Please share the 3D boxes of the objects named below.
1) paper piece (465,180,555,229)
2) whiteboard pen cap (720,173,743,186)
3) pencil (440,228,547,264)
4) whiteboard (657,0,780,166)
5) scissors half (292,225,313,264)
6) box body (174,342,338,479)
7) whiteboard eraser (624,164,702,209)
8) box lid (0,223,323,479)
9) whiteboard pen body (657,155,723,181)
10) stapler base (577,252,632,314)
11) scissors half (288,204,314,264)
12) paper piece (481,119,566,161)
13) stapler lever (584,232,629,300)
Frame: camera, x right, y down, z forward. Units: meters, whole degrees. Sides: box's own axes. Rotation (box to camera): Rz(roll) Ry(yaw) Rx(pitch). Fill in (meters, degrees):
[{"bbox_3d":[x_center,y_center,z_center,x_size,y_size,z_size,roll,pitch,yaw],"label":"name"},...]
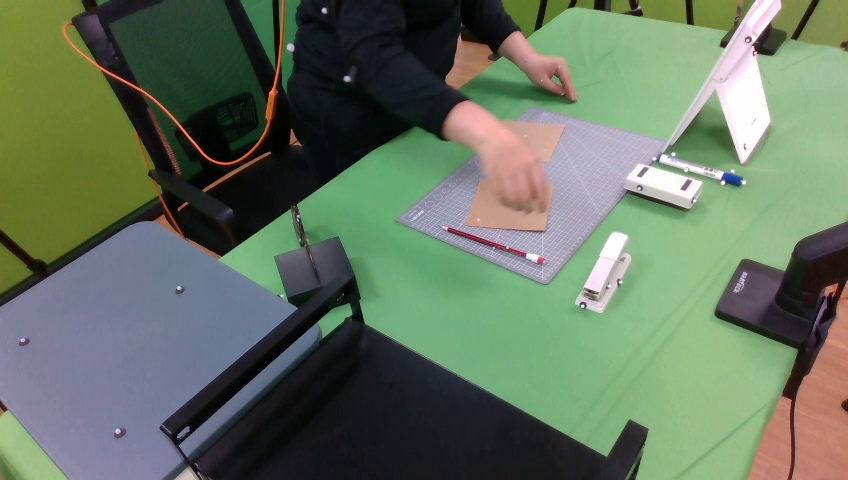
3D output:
[{"bbox_3d":[0.149,-0.062,1.034,0.137,0.009,0.136,5,38,16],"label":"paper piece"},{"bbox_3d":[0.519,-0.103,1.020,0.033,0.018,0.018,23,49,29],"label":"whiteboard pen cap"},{"bbox_3d":[0.105,0.007,0.957,0.192,0.012,0.012,18,46,30],"label":"pencil"},{"bbox_3d":[0.571,-0.272,1.038,0.143,0.306,0.218,36,54,17],"label":"whiteboard"},{"bbox_3d":[-0.189,0.007,0.955,0.013,0.040,0.174,-20,22,-13],"label":"scissors half"},{"bbox_3d":[-0.311,0.165,0.720,0.361,0.161,0.255,23,49,32],"label":"box body"},{"bbox_3d":[0.396,-0.086,1.003,0.112,0.042,0.056,22,48,31],"label":"whiteboard eraser"},{"bbox_3d":[-0.318,0.109,0.671,0.368,0.015,0.264,24,49,31],"label":"box lid"},{"bbox_3d":[0.475,-0.123,1.052,0.139,0.017,0.017,24,50,32],"label":"whiteboard pen body"},{"bbox_3d":[0.264,0.051,0.875,0.041,0.024,0.131,16,47,29],"label":"stapler base"},{"bbox_3d":[-0.191,-0.010,0.945,0.013,0.040,0.173,-15,38,-16],"label":"scissors half"},{"bbox_3d":[0.197,-0.199,1.188,0.135,0.004,0.135,11,44,21],"label":"paper piece"},{"bbox_3d":[0.261,0.034,0.858,0.026,0.040,0.118,16,46,29],"label":"stapler lever"}]
